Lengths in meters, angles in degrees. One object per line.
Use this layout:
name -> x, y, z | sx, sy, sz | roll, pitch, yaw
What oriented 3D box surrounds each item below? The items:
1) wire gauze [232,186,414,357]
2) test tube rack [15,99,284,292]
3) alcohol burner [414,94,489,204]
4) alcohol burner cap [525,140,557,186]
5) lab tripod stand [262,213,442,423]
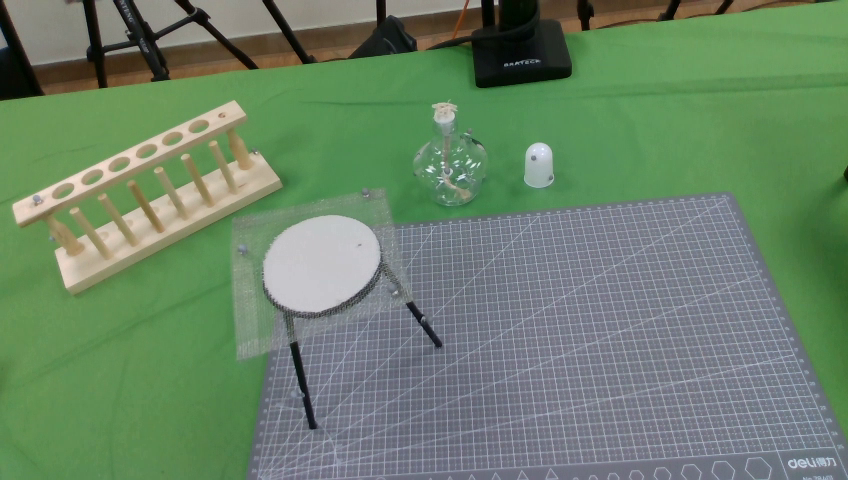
wire gauze -> -0.076, 0.014, 0.433 | 0.121, 0.011, 0.123 | -14, 51, -2
test tube rack -> -0.283, -0.050, 0.646 | 0.242, 0.086, 0.066 | -30, 52, -15
alcohol burner -> 0.026, -0.095, 0.612 | 0.078, 0.120, 0.077 | -5, 48, 6
alcohol burner cap -> 0.123, -0.083, 0.634 | 0.034, 0.048, 0.033 | -6, 50, 7
lab tripod stand -> -0.065, 0.058, 0.483 | 0.148, 0.133, 0.147 | -4, 52, 5
